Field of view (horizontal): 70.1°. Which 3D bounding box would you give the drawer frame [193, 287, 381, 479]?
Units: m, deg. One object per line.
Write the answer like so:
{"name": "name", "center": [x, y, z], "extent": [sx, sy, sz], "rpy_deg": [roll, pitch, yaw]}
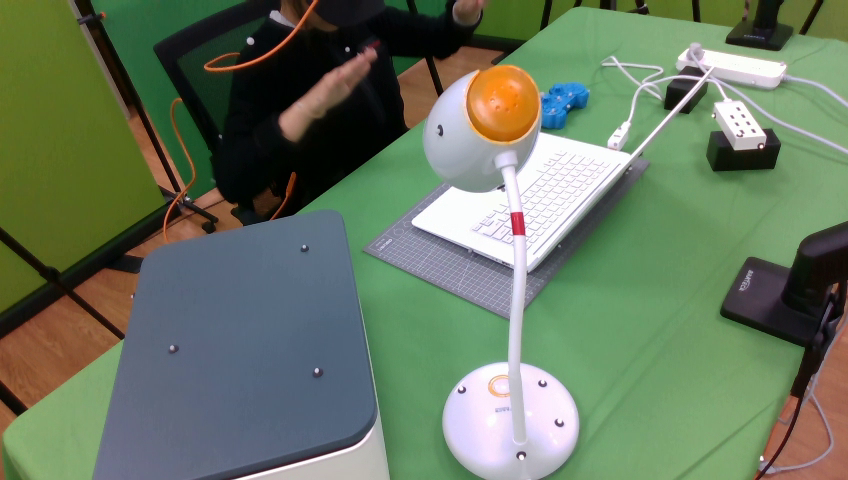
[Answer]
{"name": "drawer frame", "center": [-0.172, 0.176, 0.755], "extent": [0.202, 0.083, 0.212], "rpy_deg": [-14, 42, -7]}

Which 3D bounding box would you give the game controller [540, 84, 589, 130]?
{"name": "game controller", "center": [0.273, -0.282, 1.251], "extent": [0.096, 0.052, 0.155], "rpy_deg": [26, 52, 30]}

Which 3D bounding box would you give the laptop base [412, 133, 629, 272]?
{"name": "laptop base", "center": [0.176, -0.084, 1.055], "extent": [0.233, 0.023, 0.355], "rpy_deg": [21, 48, 36]}

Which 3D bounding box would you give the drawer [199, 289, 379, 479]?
{"name": "drawer", "center": [-0.172, 0.176, 0.760], "extent": [0.195, 0.073, 0.210], "rpy_deg": [-13, 42, -8]}

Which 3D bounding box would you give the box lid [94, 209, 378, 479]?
{"name": "box lid", "center": [-0.202, 0.094, 0.680], "extent": [0.264, 0.015, 0.368], "rpy_deg": [-13, 39, -5]}

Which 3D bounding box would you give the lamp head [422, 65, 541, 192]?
{"name": "lamp head", "center": [0.060, -0.106, 0.560], "extent": [0.113, 0.112, 0.122], "rpy_deg": [-16, 0, -8]}

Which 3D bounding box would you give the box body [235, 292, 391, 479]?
{"name": "box body", "center": [-0.190, 0.161, 0.723], "extent": [0.255, 0.161, 0.361], "rpy_deg": [-13, 40, -5]}

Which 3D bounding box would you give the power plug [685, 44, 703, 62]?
{"name": "power plug", "center": [0.568, -0.390, 1.294], "extent": [0.073, 0.053, 0.035], "rpy_deg": [-33, 46, -22]}

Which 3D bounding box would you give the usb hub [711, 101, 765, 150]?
{"name": "usb hub", "center": [0.536, -0.198, 1.038], "extent": [0.049, 0.025, 0.124], "rpy_deg": [-5, 39, 8]}

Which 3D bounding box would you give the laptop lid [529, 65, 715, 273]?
{"name": "laptop lid", "center": [0.294, -0.104, 0.895], "extent": [0.013, 0.241, 0.358], "rpy_deg": [42, 56, 10]}

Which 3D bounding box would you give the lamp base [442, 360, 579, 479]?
{"name": "lamp base", "center": [0.094, 0.158, 0.657], "extent": [0.161, 0.181, 0.178], "rpy_deg": [-14, 42, -5]}

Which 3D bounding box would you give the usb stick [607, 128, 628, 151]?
{"name": "usb stick", "center": [0.353, -0.178, 1.110], "extent": [0.021, 0.027, 0.059], "rpy_deg": [21, 57, 30]}

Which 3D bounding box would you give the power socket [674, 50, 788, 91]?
{"name": "power socket", "center": [0.646, -0.363, 1.284], "extent": [0.225, 0.033, 0.072], "rpy_deg": [25, 52, 34]}
